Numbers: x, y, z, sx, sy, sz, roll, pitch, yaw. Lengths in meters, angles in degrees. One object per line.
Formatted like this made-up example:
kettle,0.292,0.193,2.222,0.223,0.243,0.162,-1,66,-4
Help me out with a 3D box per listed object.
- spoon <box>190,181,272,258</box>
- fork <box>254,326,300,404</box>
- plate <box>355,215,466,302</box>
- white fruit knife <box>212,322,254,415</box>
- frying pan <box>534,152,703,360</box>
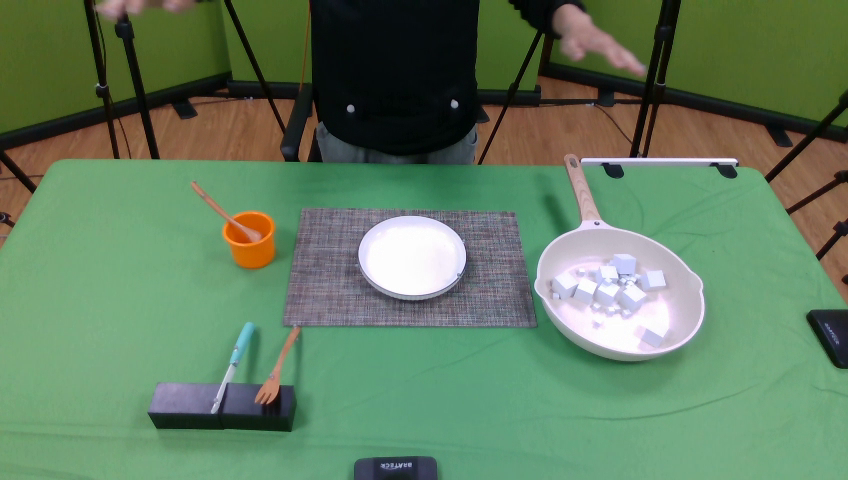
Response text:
spoon,-0.353,-0.037,1.111,0.194,0.021,0.041,42,38,-20
fork,-0.226,0.192,0.955,0.028,0.019,0.206,0,27,4
plate,-0.025,0.038,1.143,0.208,0.039,0.206,3,46,-2
white fruit knife,-0.297,0.193,0.947,0.016,0.027,0.206,1,31,-1
frying pan,0.335,0.013,1.154,0.307,0.103,0.484,-1,55,-7
